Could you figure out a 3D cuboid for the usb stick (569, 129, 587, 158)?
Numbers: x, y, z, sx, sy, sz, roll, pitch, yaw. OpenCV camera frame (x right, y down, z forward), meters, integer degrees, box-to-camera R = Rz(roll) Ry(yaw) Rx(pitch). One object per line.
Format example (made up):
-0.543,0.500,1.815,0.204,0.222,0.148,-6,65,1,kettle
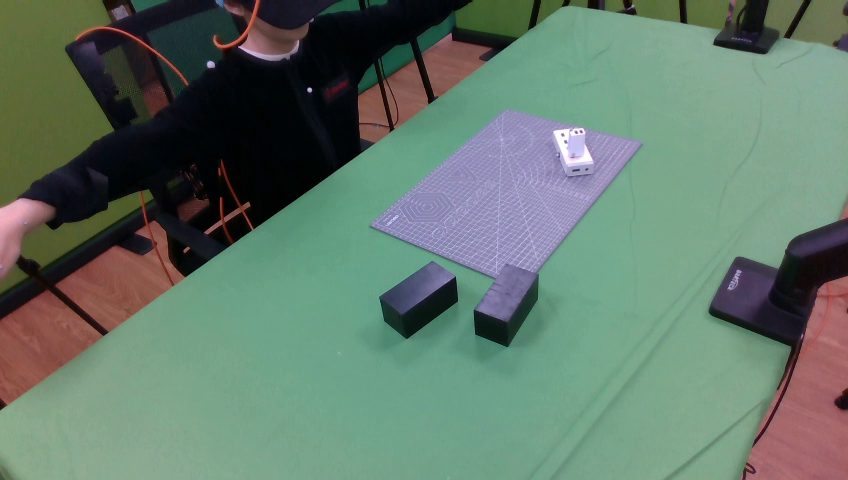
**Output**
0.273,-0.166,1.075,0.027,0.059,0.021,-5,40,-1,usb stick

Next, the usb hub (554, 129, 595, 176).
0.278,-0.163,1.119,0.049,0.025,0.124,-6,41,2,usb hub
